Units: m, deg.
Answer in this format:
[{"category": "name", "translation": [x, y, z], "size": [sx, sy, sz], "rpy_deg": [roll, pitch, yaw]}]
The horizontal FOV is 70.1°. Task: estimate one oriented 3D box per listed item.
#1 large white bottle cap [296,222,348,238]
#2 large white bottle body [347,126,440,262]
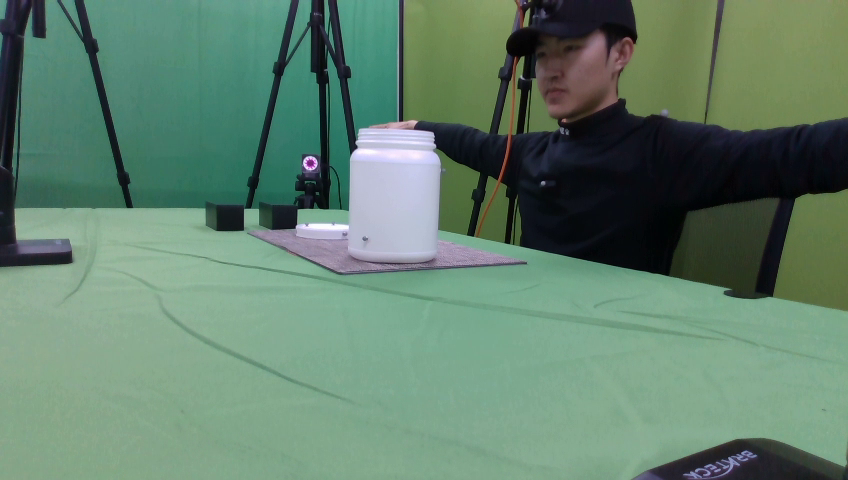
[{"category": "large white bottle cap", "translation": [-0.177, -0.019, 1.110], "size": [0.115, 0.018, 0.115], "rpy_deg": [3, 7, 0]}, {"category": "large white bottle body", "translation": [-0.043, -0.067, 0.868], "size": [0.131, 0.184, 0.130], "rpy_deg": [2, 8, 0]}]
